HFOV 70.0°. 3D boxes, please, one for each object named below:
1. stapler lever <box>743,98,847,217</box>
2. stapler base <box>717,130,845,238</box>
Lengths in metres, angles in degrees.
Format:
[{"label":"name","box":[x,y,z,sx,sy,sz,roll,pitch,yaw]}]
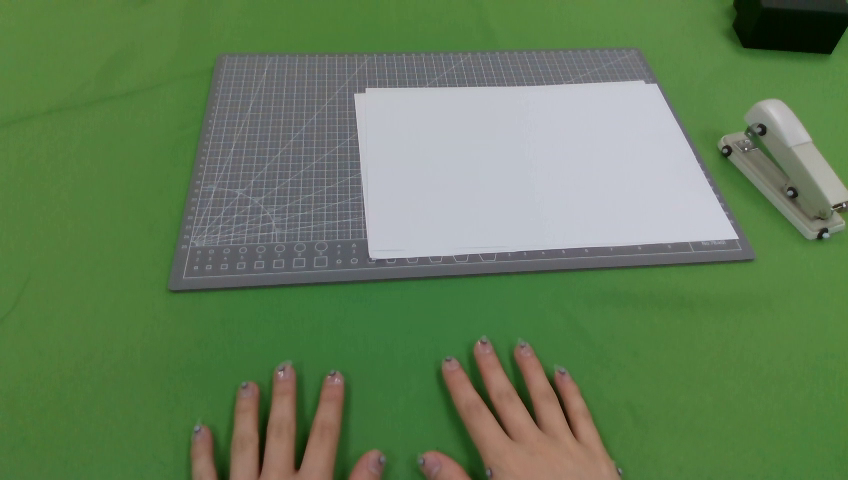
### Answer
[{"label":"stapler lever","box":[0.315,-0.073,0.511,0.027,0.040,0.117,-16,55,-13]},{"label":"stapler base","box":[0.313,-0.058,0.532,0.041,0.024,0.129,-16,55,-13]}]
